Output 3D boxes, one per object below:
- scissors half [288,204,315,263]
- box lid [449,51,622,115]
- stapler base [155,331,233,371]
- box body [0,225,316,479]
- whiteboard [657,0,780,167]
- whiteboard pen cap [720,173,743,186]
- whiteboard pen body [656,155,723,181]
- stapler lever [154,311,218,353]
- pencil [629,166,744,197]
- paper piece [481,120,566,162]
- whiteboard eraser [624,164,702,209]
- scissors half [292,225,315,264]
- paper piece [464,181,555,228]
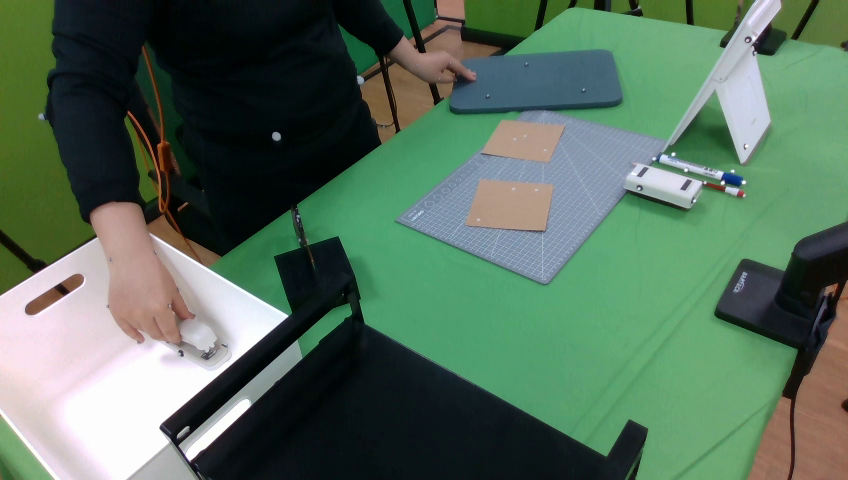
[{"bbox_3d":[-0.191,-0.010,0.944,0.013,0.040,0.173,-17,38,-16],"label":"scissors half"},{"bbox_3d":[0.250,-0.358,1.370,0.371,0.015,0.262,-1,40,9],"label":"box lid"},{"bbox_3d":[-0.326,0.142,0.850,0.129,0.024,0.041,18,44,29],"label":"stapler base"},{"bbox_3d":[-0.339,0.162,0.728,0.361,0.161,0.255,23,48,31],"label":"box body"},{"bbox_3d":[0.571,-0.272,1.038,0.143,0.306,0.218,37,54,17],"label":"whiteboard"},{"bbox_3d":[0.519,-0.103,1.020,0.033,0.018,0.018,23,49,30],"label":"whiteboard pen cap"},{"bbox_3d":[0.475,-0.123,1.052,0.139,0.017,0.017,24,50,32],"label":"whiteboard pen body"},{"bbox_3d":[-0.331,0.122,0.834,0.117,0.040,0.027,18,44,29],"label":"stapler lever"},{"bbox_3d":[0.447,-0.103,1.038,0.192,0.012,0.012,21,48,29],"label":"pencil"},{"bbox_3d":[0.197,-0.198,1.188,0.135,0.004,0.135,10,44,22],"label":"paper piece"},{"bbox_3d":[0.396,-0.086,1.003,0.112,0.042,0.056,22,47,31],"label":"whiteboard eraser"},{"bbox_3d":[-0.188,0.007,0.954,0.013,0.040,0.174,-21,22,-13],"label":"scissors half"},{"bbox_3d":[0.149,-0.062,1.034,0.137,0.009,0.136,4,37,17],"label":"paper piece"}]
